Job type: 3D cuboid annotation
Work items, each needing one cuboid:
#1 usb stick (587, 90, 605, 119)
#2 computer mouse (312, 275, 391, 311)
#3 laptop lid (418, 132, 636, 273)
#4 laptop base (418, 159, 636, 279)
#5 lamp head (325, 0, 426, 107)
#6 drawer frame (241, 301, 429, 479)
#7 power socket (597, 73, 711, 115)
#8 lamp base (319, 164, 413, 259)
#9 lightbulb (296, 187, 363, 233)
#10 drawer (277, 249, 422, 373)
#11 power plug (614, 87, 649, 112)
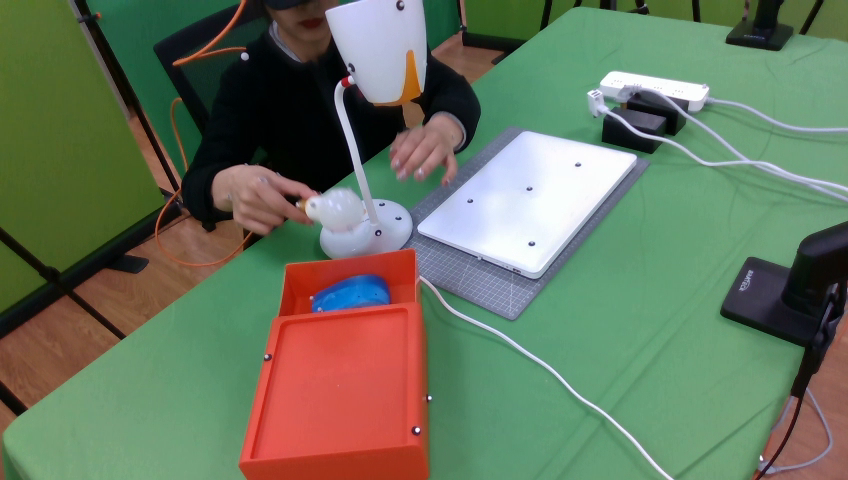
[{"bbox_3d":[0.334,-0.258,1.171,0.021,0.059,0.027,-28,44,-4],"label":"usb stick"},{"bbox_3d":[-0.107,0.087,0.885,0.117,0.041,0.062,-13,40,-1],"label":"computer mouse"},{"bbox_3d":[0.181,-0.084,1.036,0.239,0.013,0.358,22,49,35],"label":"laptop lid"},{"bbox_3d":[0.185,-0.074,1.042,0.233,0.023,0.355,20,48,35],"label":"laptop base"},{"bbox_3d":[-0.049,-0.218,0.708,0.112,0.123,0.112,-9,24,5],"label":"lamp head"},{"bbox_3d":[-0.096,0.183,0.741,0.202,0.083,0.212,-6,40,3],"label":"drawer frame"},{"bbox_3d":[0.469,-0.304,1.249,0.225,0.033,0.072,20,49,30],"label":"power socket"},{"bbox_3d":[-0.102,-0.068,0.962,0.161,0.181,0.177,-30,46,-20],"label":"lamp base"},{"bbox_3d":[-0.130,-0.041,0.805,0.107,0.060,0.059,5,41,33],"label":"lightbulb"},{"bbox_3d":[-0.101,0.113,0.827,0.194,0.073,0.210,-6,39,2],"label":"drawer"},{"bbox_3d":[0.406,-0.275,1.192,0.035,0.053,0.072,-16,24,-15],"label":"power plug"}]
